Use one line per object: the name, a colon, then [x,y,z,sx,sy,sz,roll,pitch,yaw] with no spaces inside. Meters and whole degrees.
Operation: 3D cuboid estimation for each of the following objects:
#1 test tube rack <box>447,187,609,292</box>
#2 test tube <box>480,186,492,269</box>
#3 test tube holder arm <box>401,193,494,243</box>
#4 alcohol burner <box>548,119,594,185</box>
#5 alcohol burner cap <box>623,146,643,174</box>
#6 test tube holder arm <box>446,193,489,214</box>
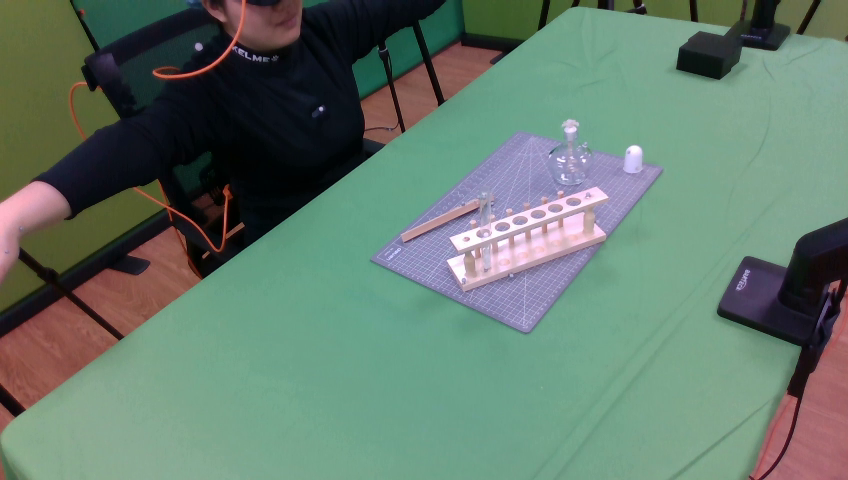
test tube rack: [0.154,-0.011,0.913,0.243,0.085,0.066,-19,41,-11]
test tube: [0.088,-0.014,0.852,0.017,0.151,0.017,-3,42,3]
test tube holder arm: [0.041,-0.039,1.018,0.179,0.015,0.013,-26,9,-18]
alcohol burner: [0.254,-0.155,1.043,0.078,0.120,0.077,-7,40,6]
alcohol burner cap: [0.369,-0.143,1.061,0.034,0.048,0.033,-6,40,6]
test tube holder arm: [0.078,-0.058,1.037,0.088,0.015,0.010,-26,9,-18]
